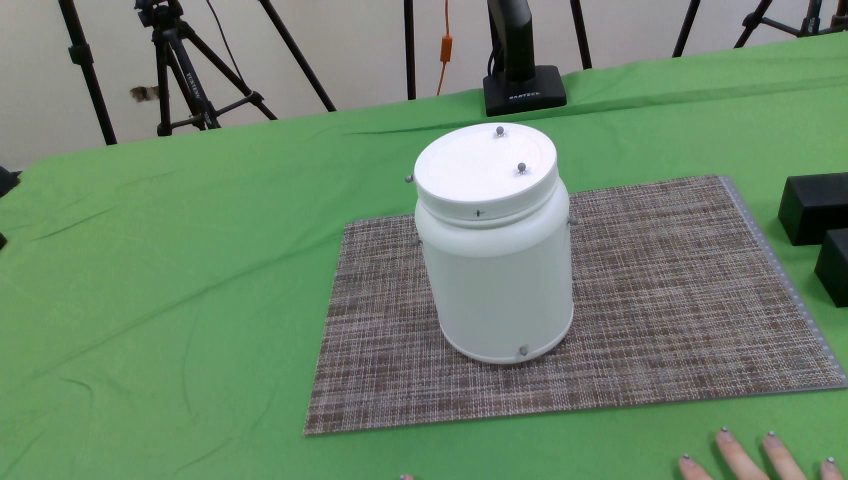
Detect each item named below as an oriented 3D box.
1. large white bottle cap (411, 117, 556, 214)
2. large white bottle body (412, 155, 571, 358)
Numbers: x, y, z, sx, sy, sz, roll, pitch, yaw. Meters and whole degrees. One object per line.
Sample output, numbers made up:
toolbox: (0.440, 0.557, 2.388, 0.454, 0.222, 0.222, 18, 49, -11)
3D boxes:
large white bottle cap: (0.046, -0.062, 0.483, 0.115, 0.018, 0.113, -8, 40, 7)
large white bottle body: (0.062, 0.001, 0.539, 0.130, 0.186, 0.129, -8, 40, 7)
